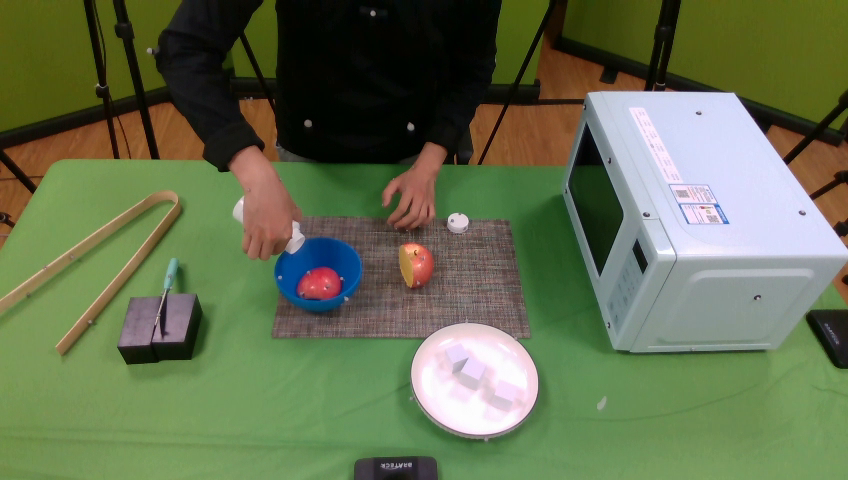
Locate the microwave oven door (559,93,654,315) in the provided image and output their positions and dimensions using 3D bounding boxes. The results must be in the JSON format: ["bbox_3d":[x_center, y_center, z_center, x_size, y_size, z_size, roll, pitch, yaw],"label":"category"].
[{"bbox_3d":[0.327,-0.074,1.123,0.039,0.245,0.353,-1,46,-5],"label":"microwave oven door"}]

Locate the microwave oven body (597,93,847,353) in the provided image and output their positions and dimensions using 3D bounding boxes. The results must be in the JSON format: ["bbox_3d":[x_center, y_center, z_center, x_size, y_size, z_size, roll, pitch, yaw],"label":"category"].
[{"bbox_3d":[0.475,-0.041,1.109,0.326,0.261,0.438,-1,45,-4],"label":"microwave oven body"}]

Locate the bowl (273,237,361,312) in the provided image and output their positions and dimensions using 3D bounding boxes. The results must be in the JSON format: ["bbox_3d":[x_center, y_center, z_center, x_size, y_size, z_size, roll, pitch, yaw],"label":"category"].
[{"bbox_3d":[-0.186,0.074,1.069,0.151,0.077,0.150,3,46,-3],"label":"bowl"}]

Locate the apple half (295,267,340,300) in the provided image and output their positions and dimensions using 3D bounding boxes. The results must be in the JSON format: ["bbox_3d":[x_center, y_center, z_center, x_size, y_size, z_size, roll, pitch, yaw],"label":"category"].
[{"bbox_3d":[-0.187,0.070,1.067,0.081,0.033,0.081,3,47,-3],"label":"apple half"}]

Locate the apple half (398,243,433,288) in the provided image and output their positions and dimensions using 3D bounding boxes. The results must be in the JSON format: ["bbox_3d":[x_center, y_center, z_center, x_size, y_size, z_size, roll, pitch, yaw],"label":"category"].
[{"bbox_3d":[-0.012,0.046,1.115,0.053,0.075,0.080,-11,44,-19],"label":"apple half"}]

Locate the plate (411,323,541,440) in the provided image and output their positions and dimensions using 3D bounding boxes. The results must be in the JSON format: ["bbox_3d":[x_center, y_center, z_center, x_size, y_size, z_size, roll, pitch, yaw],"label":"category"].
[{"bbox_3d":[0.082,0.228,0.976,0.208,0.039,0.206,2,45,-2],"label":"plate"}]

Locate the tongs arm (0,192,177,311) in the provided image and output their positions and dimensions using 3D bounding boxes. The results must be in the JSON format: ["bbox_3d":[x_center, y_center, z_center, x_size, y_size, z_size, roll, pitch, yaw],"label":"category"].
[{"bbox_3d":[-0.618,0.019,1.124,0.050,0.026,0.384,24,47,16],"label":"tongs arm"}]

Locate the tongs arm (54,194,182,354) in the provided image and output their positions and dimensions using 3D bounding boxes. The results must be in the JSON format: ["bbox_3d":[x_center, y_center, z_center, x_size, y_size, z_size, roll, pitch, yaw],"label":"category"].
[{"bbox_3d":[-0.543,0.048,1.107,0.028,0.028,0.385,11,45,10],"label":"tongs arm"}]

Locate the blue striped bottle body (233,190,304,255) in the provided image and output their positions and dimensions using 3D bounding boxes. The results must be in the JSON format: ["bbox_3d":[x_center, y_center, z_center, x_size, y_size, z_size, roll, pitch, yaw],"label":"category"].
[{"bbox_3d":[-0.262,-0.026,1.039,0.120,0.063,0.063,39,53,8],"label":"blue striped bottle body"}]

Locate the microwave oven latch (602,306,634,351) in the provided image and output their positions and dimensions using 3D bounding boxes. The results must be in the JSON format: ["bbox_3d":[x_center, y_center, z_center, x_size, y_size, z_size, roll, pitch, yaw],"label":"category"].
[{"bbox_3d":[0.332,0.153,1.044,0.030,0.029,0.078,-1,45,-4],"label":"microwave oven latch"}]

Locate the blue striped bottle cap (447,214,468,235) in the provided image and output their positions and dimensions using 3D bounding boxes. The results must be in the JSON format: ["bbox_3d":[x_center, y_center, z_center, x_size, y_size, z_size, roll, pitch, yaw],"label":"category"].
[{"bbox_3d":[0.069,-0.033,1.239,0.044,0.021,0.044,1,46,-1],"label":"blue striped bottle cap"}]

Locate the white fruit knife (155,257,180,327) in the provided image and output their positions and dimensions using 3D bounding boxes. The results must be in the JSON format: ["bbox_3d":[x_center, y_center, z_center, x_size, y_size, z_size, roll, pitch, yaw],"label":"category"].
[{"bbox_3d":[-0.440,0.085,1.037,0.016,0.027,0.206,10,26,-19],"label":"white fruit knife"}]
